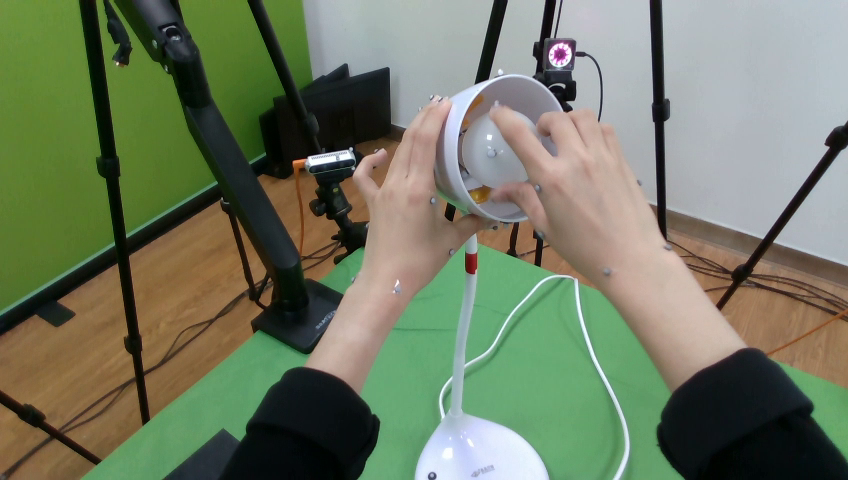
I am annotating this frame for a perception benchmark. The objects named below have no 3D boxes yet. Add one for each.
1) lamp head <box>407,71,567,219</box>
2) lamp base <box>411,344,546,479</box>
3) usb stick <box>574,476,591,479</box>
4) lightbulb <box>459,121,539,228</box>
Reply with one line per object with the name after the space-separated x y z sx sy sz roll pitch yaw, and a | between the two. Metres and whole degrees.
0.041 -0.073 0.507 0.112 0.113 0.122 -24 13 -27 | lamp head
0.056 0.215 0.678 0.161 0.182 0.177 -23 41 -26 | lamp base
0.186 0.298 0.680 0.027 0.059 0.021 -27 3 -35 | usb stick
0.052 -0.046 0.480 0.060 0.108 0.059 7 53 -9 | lightbulb
